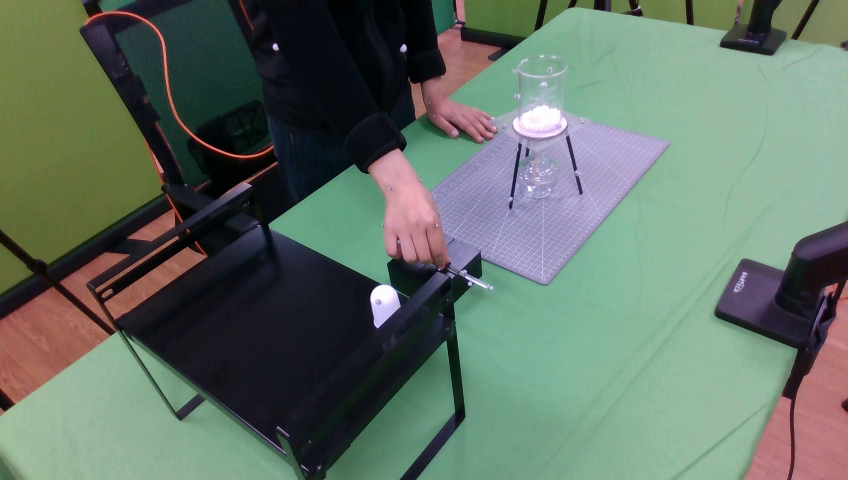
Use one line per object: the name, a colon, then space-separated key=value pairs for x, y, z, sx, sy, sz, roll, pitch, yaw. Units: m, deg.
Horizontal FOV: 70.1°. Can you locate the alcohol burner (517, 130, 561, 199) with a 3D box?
alcohol burner: x=0.193 y=-0.131 z=1.026 sx=0.078 sy=0.119 sz=0.077 roll=-4 pitch=38 yaw=4

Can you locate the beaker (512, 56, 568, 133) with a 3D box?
beaker: x=0.181 y=-0.225 z=0.946 sx=0.084 sy=0.101 sz=0.074 roll=3 pitch=41 yaw=12

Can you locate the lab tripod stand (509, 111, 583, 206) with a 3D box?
lab tripod stand: x=0.198 y=-0.139 z=1.019 sx=0.148 sy=0.132 sz=0.147 roll=-3 pitch=39 yaw=3

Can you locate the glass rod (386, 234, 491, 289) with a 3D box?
glass rod: x=0.017 y=0.029 z=0.875 sx=0.198 sy=0.008 sz=0.008 roll=26 pitch=51 yaw=34

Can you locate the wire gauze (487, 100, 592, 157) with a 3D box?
wire gauze: x=0.185 y=-0.187 z=0.974 sx=0.122 sy=0.011 sz=0.124 roll=-28 pitch=47 yaw=-22

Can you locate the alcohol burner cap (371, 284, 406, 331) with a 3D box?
alcohol burner cap: x=-0.037 y=0.065 z=0.608 sx=0.034 sy=0.048 sz=0.033 roll=-4 pitch=41 yaw=4
